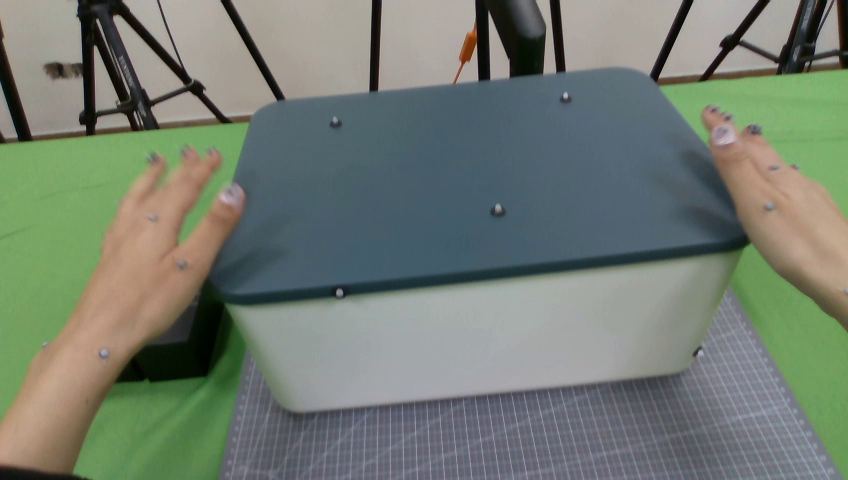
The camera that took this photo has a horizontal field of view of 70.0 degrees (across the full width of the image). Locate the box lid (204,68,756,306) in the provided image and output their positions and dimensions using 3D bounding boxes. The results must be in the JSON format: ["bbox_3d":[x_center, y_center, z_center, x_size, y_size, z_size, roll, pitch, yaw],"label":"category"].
[{"bbox_3d":[0.029,-0.060,0.479,0.372,0.015,0.260,-6,40,-1],"label":"box lid"}]

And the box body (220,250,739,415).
[{"bbox_3d":[0.036,-0.004,0.529,0.364,0.162,0.251,-6,41,-1],"label":"box body"}]
